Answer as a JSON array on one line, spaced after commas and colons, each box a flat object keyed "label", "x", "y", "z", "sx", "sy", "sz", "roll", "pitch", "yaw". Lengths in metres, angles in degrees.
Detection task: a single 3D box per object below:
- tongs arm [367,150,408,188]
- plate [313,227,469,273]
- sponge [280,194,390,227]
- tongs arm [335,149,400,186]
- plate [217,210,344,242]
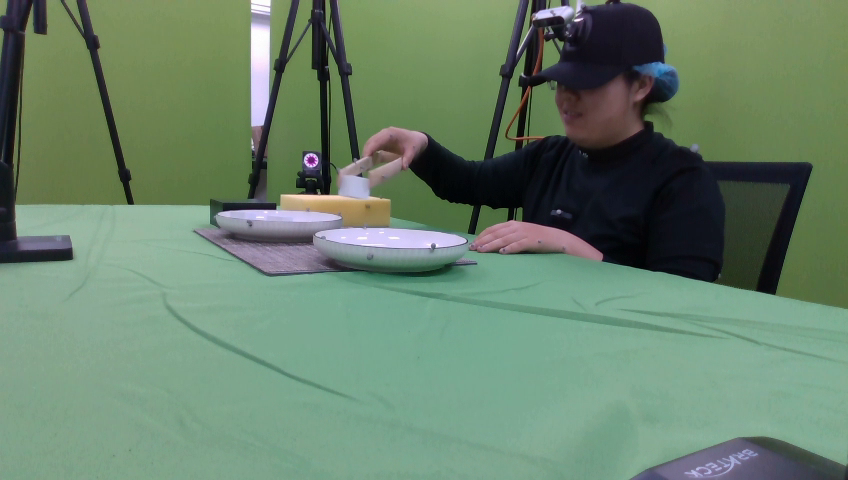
[{"label": "tongs arm", "x": -0.061, "y": -0.131, "z": 1.074, "sx": 0.028, "sy": 0.028, "sz": 0.387, "roll": 1, "pitch": 13, "yaw": 7}, {"label": "plate", "x": -0.044, "y": 0.013, "z": 0.807, "sx": 0.209, "sy": 0.038, "sz": 0.209, "roll": 2, "pitch": 7, "yaw": 0}, {"label": "sponge", "x": -0.188, "y": -0.063, "z": 1.291, "sx": 0.208, "sy": 0.061, "sz": 0.117, "roll": -2, "pitch": 9, "yaw": -35}, {"label": "tongs arm", "x": -0.091, "y": -0.134, "z": 1.077, "sx": 0.051, "sy": 0.026, "sz": 0.384, "roll": 4, "pitch": 13, "yaw": 4}, {"label": "plate", "x": -0.241, "y": -0.024, "z": 1.026, "sx": 0.208, "sy": 0.039, "sz": 0.207, "roll": 3, "pitch": 7, "yaw": 0}]
